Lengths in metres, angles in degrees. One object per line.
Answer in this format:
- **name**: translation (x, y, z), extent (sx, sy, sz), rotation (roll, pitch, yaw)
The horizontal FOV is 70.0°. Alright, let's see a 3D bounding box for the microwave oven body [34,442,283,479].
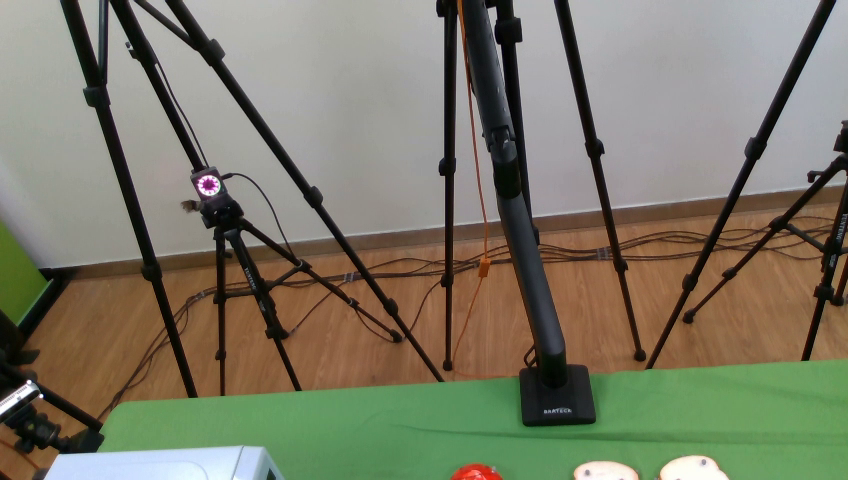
- **microwave oven body**: translation (-0.356, 0.502, 0.706), extent (0.325, 0.263, 0.437), rotation (-6, 40, 8)

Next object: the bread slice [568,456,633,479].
- **bread slice**: translation (0.257, 0.379, 0.880), extent (0.107, 0.018, 0.133), rotation (-5, 40, 9)

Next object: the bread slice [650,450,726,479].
- **bread slice**: translation (0.386, 0.363, 0.864), extent (0.105, 0.019, 0.130), rotation (-14, 39, -1)

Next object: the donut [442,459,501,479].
- **donut**: translation (0.070, 0.379, 0.914), extent (0.099, 0.049, 0.098), rotation (-10, 38, 8)
